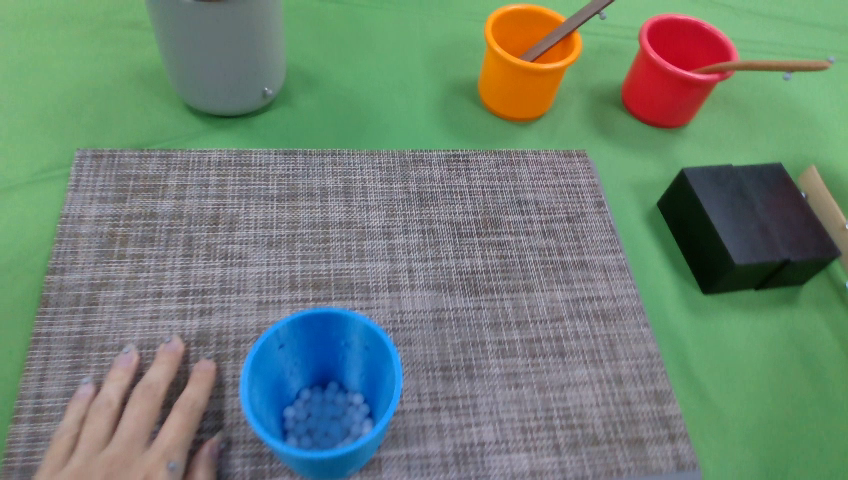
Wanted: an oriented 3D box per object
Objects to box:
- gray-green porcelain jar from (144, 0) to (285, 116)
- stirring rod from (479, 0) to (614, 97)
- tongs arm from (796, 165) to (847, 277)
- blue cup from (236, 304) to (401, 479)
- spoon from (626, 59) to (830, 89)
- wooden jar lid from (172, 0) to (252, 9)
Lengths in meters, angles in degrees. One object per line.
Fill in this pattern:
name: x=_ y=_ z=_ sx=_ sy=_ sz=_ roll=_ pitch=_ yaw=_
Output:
gray-green porcelain jar: x=-0.174 y=-0.180 z=0.517 sx=0.106 sy=0.127 sz=0.105 roll=4 pitch=56 yaw=-6
stirring rod: x=0.125 y=-0.192 z=0.568 sx=0.176 sy=0.006 sz=0.014 roll=-35 pitch=62 yaw=19
tongs arm: x=0.402 y=0.095 z=0.482 sx=0.051 sy=0.027 sz=0.381 roll=2 pitch=57 yaw=-13
blue cup: x=-0.059 y=0.101 z=0.357 sx=0.093 sy=0.101 sz=0.092 roll=3 pitch=55 yaw=-5
spoon: x=0.272 y=-0.157 z=0.565 sx=0.041 sy=0.022 sz=0.192 roll=-36 pitch=24 yaw=-22
wooden jar lid: x=-0.167 y=-0.214 z=0.466 sx=0.108 sy=0.021 sz=0.107 roll=6 pitch=54 yaw=-8
